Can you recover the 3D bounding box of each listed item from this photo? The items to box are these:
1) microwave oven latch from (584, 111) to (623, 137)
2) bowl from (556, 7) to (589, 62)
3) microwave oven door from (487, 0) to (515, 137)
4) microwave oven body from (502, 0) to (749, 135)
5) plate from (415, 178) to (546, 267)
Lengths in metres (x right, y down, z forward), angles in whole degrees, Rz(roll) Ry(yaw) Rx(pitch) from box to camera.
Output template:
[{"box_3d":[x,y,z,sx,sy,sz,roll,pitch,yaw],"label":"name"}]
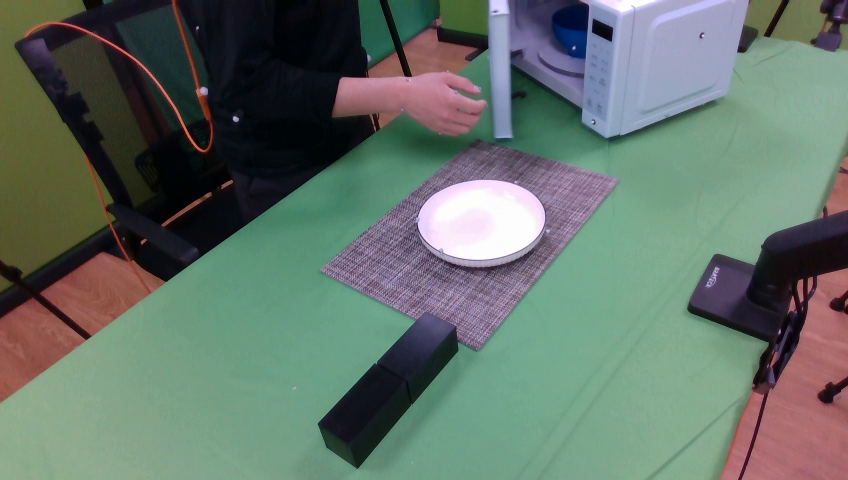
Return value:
[{"box_3d":[0.337,-0.222,1.142,0.030,0.029,0.078,-21,42,-14],"label":"microwave oven latch"},{"box_3d":[0.353,-0.430,1.285,0.151,0.077,0.150,-1,41,1],"label":"bowl"},{"box_3d":[0.152,-0.405,1.223,0.039,0.245,0.354,-3,41,6],"label":"microwave oven door"},{"box_3d":[0.382,-0.444,1.246,0.327,0.261,0.437,-22,42,-16],"label":"microwave oven body"},{"box_3d":[0.091,-0.026,0.970,0.207,0.039,0.206,-4,41,4],"label":"plate"}]
